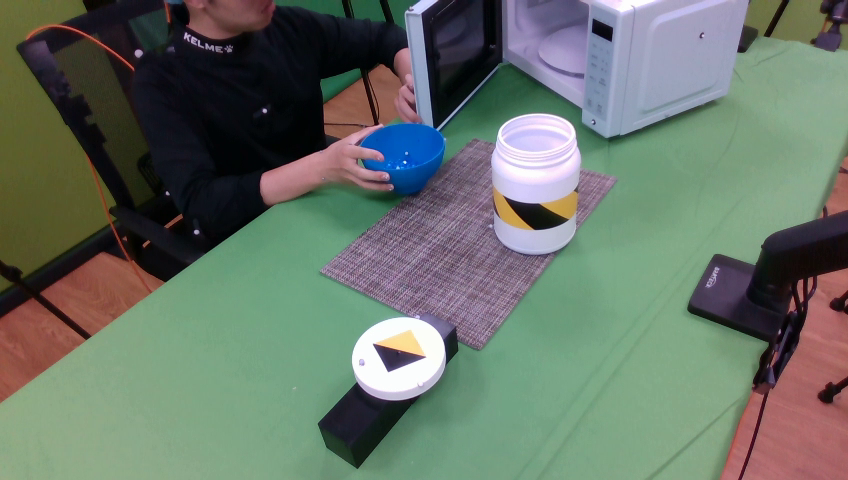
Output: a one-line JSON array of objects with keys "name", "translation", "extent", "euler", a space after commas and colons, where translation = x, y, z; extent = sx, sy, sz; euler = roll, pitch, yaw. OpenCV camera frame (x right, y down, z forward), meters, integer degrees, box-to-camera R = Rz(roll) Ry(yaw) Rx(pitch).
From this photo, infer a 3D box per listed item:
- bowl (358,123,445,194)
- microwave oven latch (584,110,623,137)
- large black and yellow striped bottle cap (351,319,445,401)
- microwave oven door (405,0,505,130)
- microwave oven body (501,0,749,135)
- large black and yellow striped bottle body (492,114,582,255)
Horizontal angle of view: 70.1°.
[{"name": "bowl", "translation": [-0.035, -0.134, 1.059], "extent": [0.151, 0.077, 0.150], "euler": [-4, 40, 4]}, {"name": "microwave oven latch", "translation": [0.337, -0.222, 1.142], "extent": [0.030, 0.029, 0.078], "euler": [-21, 42, -14]}, {"name": "large black and yellow striped bottle cap", "translation": [-0.031, 0.143, 0.735], "extent": [0.115, 0.019, 0.114], "euler": [-3, 40, 3]}, {"name": "microwave oven door", "translation": [0.076, -0.411, 1.242], "extent": [0.039, 0.245, 0.356], "euler": [16, 46, 25]}, {"name": "microwave oven body", "translation": [0.382, -0.444, 1.246], "extent": [0.327, 0.261, 0.437], "euler": [-22, 42, -16]}, {"name": "large black and yellow striped bottle body", "translation": [0.169, -0.083, 0.912], "extent": [0.131, 0.185, 0.130], "euler": [-4, 41, 4]}]
